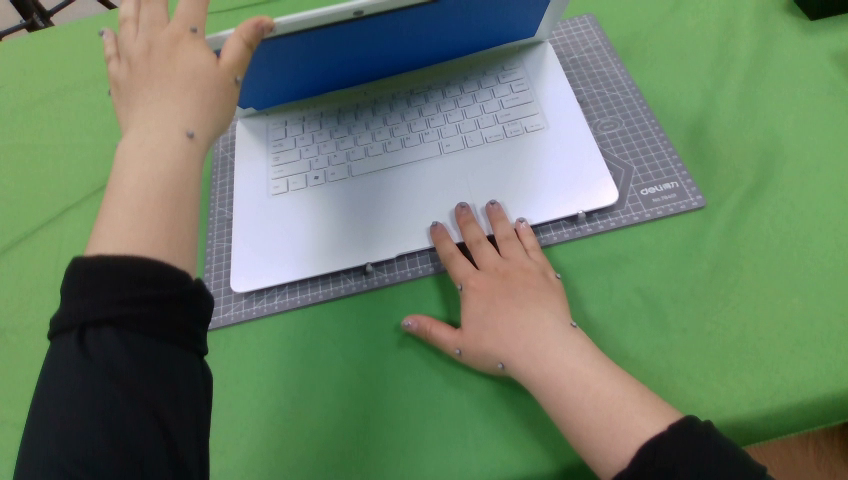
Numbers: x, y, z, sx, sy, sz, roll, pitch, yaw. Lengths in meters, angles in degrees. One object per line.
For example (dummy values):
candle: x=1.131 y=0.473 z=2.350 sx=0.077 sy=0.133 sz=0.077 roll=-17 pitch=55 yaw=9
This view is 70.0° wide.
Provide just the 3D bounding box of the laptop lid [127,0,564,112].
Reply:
laptop lid: x=-0.045 y=-0.177 z=0.545 sx=0.356 sy=0.241 sz=0.013 roll=-13 pitch=92 yaw=5

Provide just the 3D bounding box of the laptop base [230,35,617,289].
laptop base: x=-0.019 y=-0.085 z=0.598 sx=0.354 sy=0.023 sz=0.233 roll=-14 pitch=57 yaw=3
